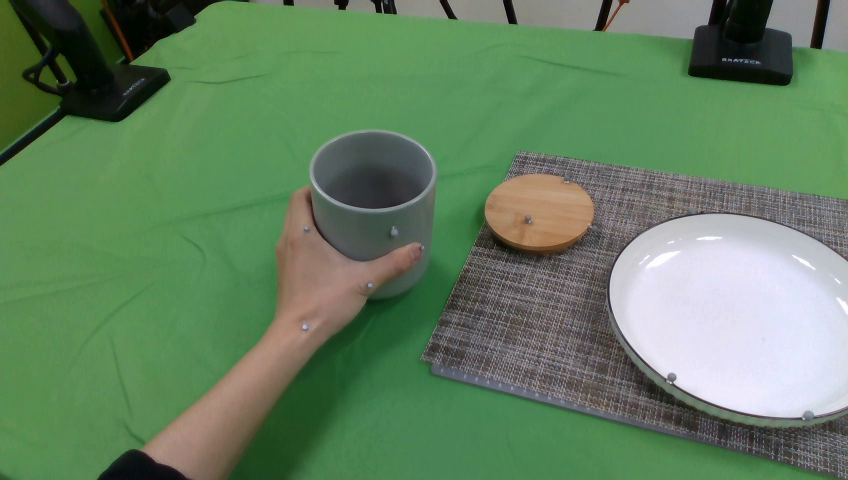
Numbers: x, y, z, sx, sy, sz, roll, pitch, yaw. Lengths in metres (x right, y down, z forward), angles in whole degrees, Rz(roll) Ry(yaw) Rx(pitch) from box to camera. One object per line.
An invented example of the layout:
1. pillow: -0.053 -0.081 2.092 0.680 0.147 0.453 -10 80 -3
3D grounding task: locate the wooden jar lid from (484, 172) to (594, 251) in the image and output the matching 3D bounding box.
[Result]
1. wooden jar lid: 0.115 -0.028 0.608 0.108 0.021 0.107 -3 45 3

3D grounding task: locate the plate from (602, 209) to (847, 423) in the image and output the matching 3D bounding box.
1. plate: 0.251 0.058 0.493 0.207 0.039 0.205 -4 46 4

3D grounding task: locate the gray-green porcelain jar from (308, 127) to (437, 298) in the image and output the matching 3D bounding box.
1. gray-green porcelain jar: -0.045 -0.019 0.542 0.106 0.127 0.105 2 48 -2
